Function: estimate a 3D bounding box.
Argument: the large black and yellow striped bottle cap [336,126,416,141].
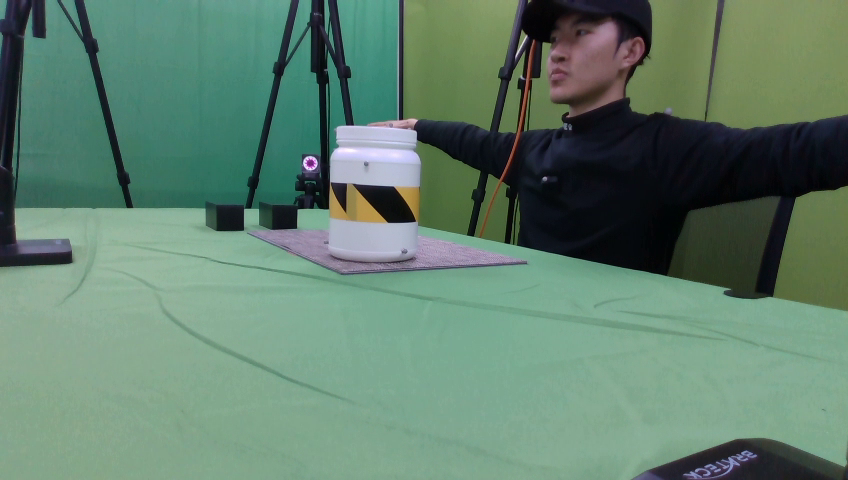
[{"bbox_3d":[-0.068,-0.150,0.860,0.115,0.019,0.115,1,6,0],"label":"large black and yellow striped bottle cap"}]

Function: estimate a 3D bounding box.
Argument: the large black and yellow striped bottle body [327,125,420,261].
[{"bbox_3d":[-0.072,-0.069,0.872,0.131,0.184,0.130,2,7,0],"label":"large black and yellow striped bottle body"}]
